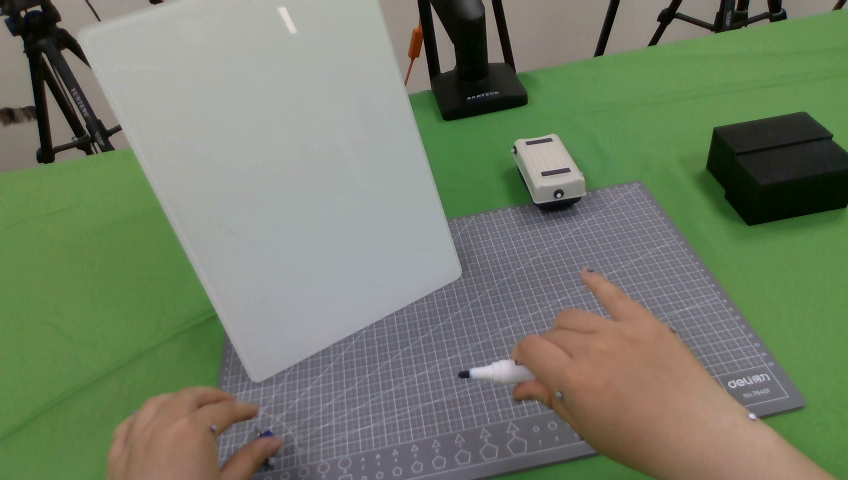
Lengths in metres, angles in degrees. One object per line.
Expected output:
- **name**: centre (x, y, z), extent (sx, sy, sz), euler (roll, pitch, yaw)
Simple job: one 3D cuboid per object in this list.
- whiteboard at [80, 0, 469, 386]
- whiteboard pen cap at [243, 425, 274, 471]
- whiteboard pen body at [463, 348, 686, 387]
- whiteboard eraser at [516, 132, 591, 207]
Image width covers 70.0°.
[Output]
- **whiteboard**: centre (-0.120, -0.069, 0.552), extent (0.217, 0.308, 0.142), euler (-26, 24, -17)
- **whiteboard pen cap**: centre (-0.127, 0.159, 0.462), extent (0.018, 0.018, 0.033), euler (1, 59, 12)
- **whiteboard pen body**: centre (0.095, 0.082, 0.387), extent (0.141, 0.017, 0.017), euler (-5, 41, 2)
- **whiteboard eraser**: centre (0.140, -0.078, 0.668), extent (0.055, 0.042, 0.111), euler (-12, 37, 1)
